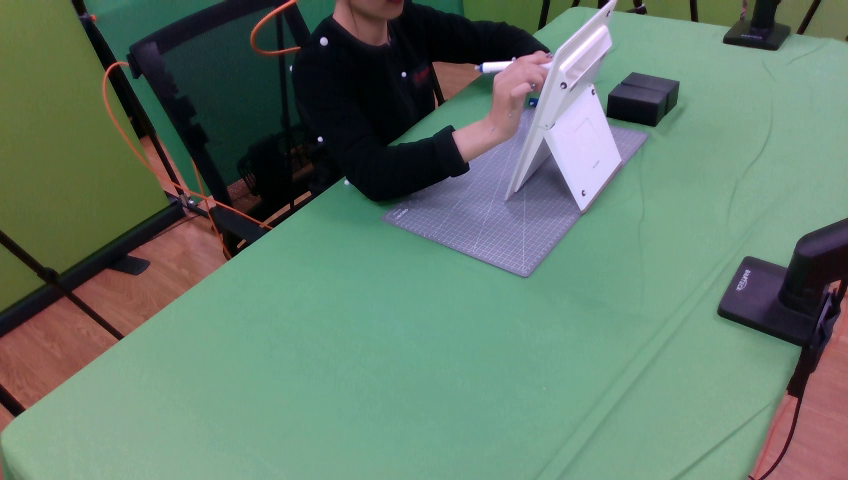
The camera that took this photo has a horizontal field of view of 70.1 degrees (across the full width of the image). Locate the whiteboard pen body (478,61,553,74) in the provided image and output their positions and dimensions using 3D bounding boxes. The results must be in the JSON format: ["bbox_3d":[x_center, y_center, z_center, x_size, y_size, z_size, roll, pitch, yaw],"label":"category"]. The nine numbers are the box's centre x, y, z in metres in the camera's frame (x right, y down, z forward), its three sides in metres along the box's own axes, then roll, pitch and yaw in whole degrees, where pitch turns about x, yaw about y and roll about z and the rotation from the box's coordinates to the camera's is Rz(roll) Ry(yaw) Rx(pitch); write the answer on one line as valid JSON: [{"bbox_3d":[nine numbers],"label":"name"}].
[{"bbox_3d":[0.155,-0.270,0.944,0.140,0.017,0.017,3,42,18],"label":"whiteboard pen body"}]

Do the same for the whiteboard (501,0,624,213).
[{"bbox_3d":[0.271,-0.189,0.977,0.143,0.306,0.218,34,53,16],"label":"whiteboard"}]

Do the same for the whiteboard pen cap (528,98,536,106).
[{"bbox_3d":[0.239,-0.293,1.288,0.033,0.018,0.018,22,50,36],"label":"whiteboard pen cap"}]
